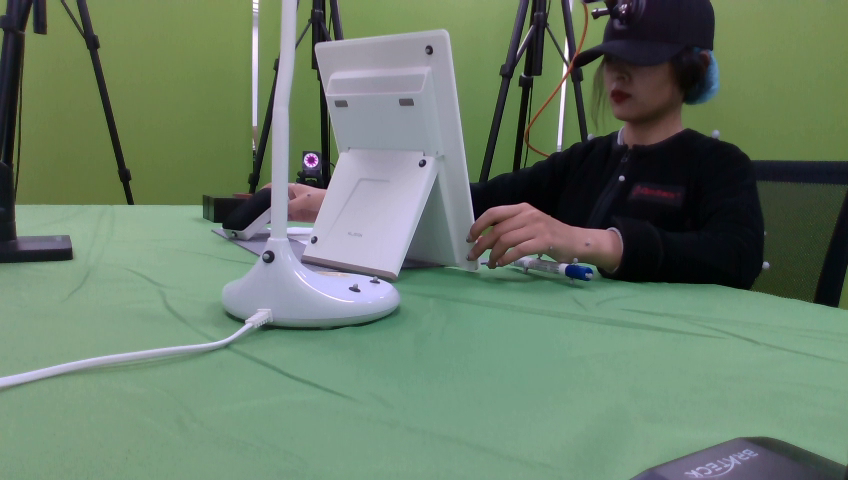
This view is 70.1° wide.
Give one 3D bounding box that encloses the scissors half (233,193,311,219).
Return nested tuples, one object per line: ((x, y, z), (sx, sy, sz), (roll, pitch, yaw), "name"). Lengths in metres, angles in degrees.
((-0.330, -0.078, 1.319), (0.176, 0.040, 0.013), (16, 3, -32), "scissors half")

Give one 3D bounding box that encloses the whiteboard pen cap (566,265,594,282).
((0.185, 0.040, 0.722), (0.018, 0.018, 0.033), (-2, 6, -33), "whiteboard pen cap")

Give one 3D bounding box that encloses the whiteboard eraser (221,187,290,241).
((-0.278, -0.047, 0.996), (0.055, 0.042, 0.113), (6, 41, 35), "whiteboard eraser")

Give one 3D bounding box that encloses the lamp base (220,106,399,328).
((-0.101, -0.023, 0.531), (0.160, 0.180, 0.179), (4, 10, 10), "lamp base")

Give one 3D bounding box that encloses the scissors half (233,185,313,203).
((-0.326, -0.098, 1.315), (0.176, 0.040, 0.012), (-5, 20, -29), "scissors half")

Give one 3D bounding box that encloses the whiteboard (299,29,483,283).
((-0.074, -0.082, 0.742), (0.216, 0.305, 0.144), (9, 29, 38), "whiteboard")

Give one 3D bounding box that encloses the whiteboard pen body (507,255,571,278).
((0.156, 0.035, 0.773), (0.017, 0.017, 0.140), (-2, 7, -32), "whiteboard pen body")
